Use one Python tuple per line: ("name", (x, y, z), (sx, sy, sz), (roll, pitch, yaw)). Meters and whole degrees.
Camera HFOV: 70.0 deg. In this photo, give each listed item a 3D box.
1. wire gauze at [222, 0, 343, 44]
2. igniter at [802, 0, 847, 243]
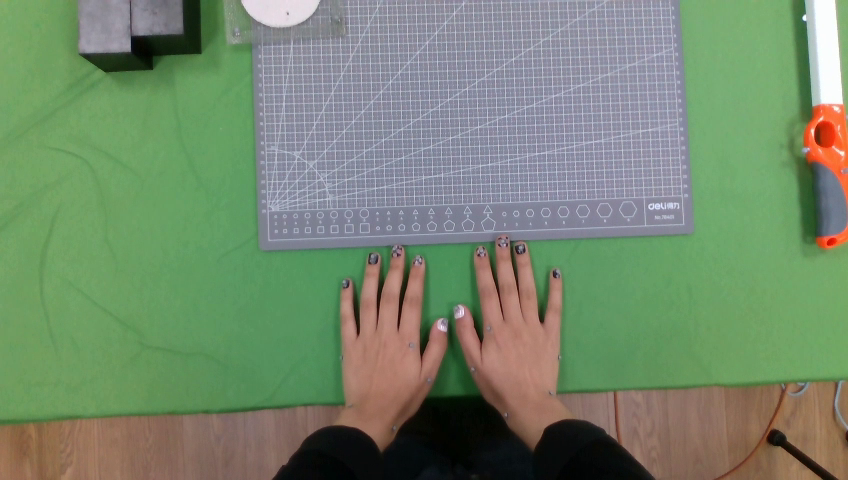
("wire gauze", (-0.153, -0.267, 0.628), (0.125, 0.011, 0.121), (-8, 87, -1))
("igniter", (0.420, -0.135, 0.634), (0.057, 0.025, 0.276), (-1, 87, -13))
